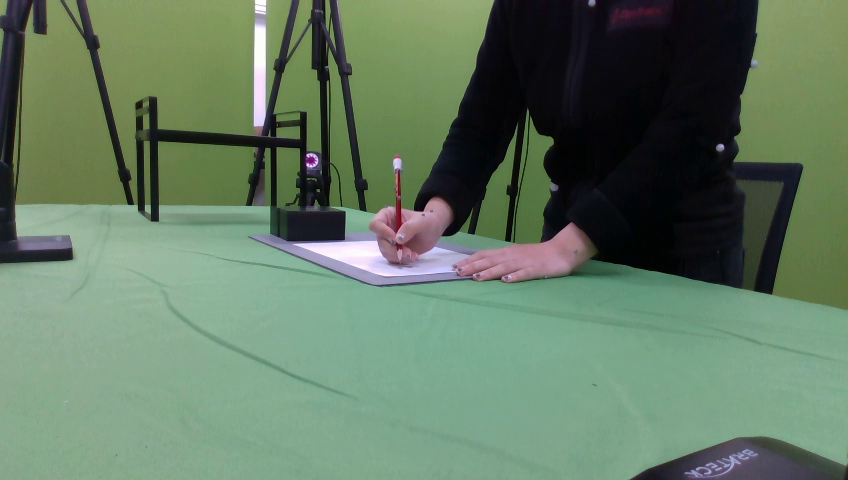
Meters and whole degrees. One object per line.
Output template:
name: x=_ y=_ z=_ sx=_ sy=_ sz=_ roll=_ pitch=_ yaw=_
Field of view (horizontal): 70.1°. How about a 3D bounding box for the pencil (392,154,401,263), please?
pencil: x=-0.036 y=-0.047 z=0.811 sx=0.012 sy=0.012 sz=0.193 roll=2 pitch=51 yaw=-6
